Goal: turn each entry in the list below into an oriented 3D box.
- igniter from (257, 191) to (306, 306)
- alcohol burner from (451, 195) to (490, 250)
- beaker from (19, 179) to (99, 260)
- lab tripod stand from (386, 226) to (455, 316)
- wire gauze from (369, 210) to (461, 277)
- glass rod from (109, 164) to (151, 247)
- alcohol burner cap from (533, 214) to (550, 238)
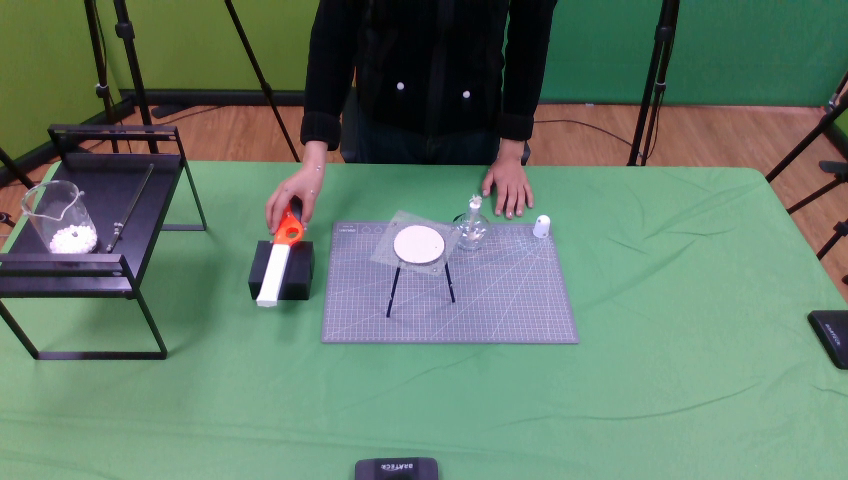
[{"bbox_3d":[-0.257,0.005,1.104,0.057,0.025,0.275,4,47,0],"label":"igniter"},{"bbox_3d":[0.092,-0.038,1.175,0.078,0.120,0.077,2,44,-2],"label":"alcohol burner"},{"bbox_3d":[-0.522,-0.024,0.878,0.074,0.101,0.083,-26,54,-25],"label":"beaker"},{"bbox_3d":[-0.014,0.054,1.064,0.148,0.132,0.147,2,48,-2],"label":"lab tripod stand"},{"bbox_3d":[-0.013,0.005,1.017,0.121,0.011,0.124,17,49,12],"label":"wire gauze"},{"bbox_3d":[-0.473,-0.061,0.979,0.008,0.008,0.198,1,46,-3],"label":"glass rod"},{"bbox_3d":[0.240,-0.031,1.228,0.034,0.048,0.033,1,46,-1],"label":"alcohol burner cap"}]
